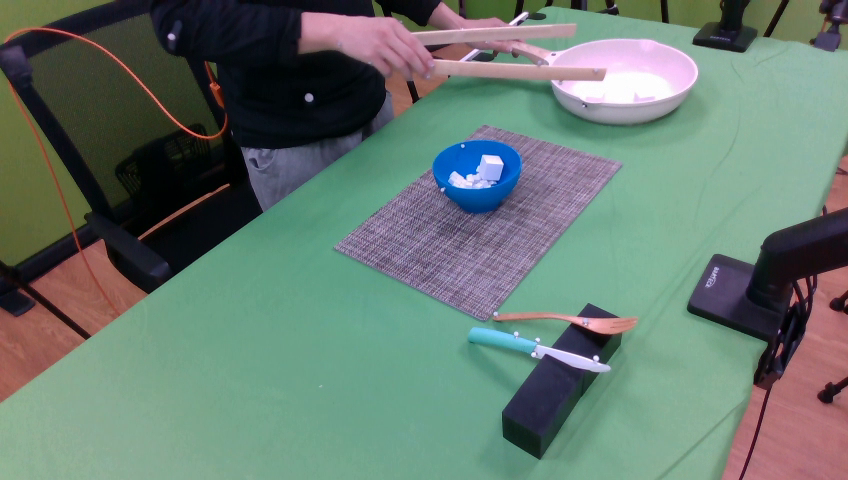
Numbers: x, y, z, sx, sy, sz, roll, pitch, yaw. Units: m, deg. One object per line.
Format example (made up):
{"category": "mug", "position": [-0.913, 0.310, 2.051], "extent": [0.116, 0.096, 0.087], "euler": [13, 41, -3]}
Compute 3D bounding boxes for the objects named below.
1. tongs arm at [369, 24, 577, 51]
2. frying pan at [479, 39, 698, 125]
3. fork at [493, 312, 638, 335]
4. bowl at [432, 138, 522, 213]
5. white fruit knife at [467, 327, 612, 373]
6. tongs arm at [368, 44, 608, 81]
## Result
{"category": "tongs arm", "position": [0.090, -0.340, 1.019], "extent": [0.389, 0.028, 0.028], "euler": [-11, 56, -18]}
{"category": "frying pan", "position": [0.321, -0.371, 1.290], "extent": [0.484, 0.103, 0.307], "euler": [29, 51, 24]}
{"category": "fork", "position": [0.173, 0.103, 0.774], "extent": [0.206, 0.019, 0.028], "euler": [0, 41, 40]}
{"category": "bowl", "position": [0.091, -0.100, 1.021], "extent": [0.151, 0.077, 0.150], "euler": [-4, 41, 4]}
{"category": "white fruit knife", "position": [0.134, 0.134, 0.742], "extent": [0.205, 0.027, 0.016], "euler": [7, 34, 41]}
{"category": "tongs arm", "position": [0.105, -0.284, 0.970], "extent": [0.386, 0.026, 0.050], "euler": [-1, 50, -10]}
